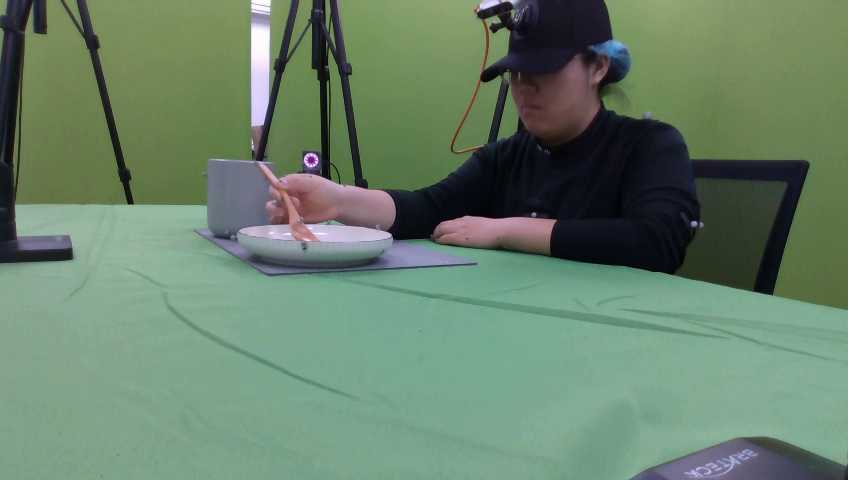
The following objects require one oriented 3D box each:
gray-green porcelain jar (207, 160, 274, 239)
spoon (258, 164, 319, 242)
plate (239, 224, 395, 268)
[{"bbox_3d":[-0.304,-0.068,1.003,0.106,0.126,0.106,3,7,0],"label":"gray-green porcelain jar"},{"bbox_3d":[-0.193,-0.052,0.849,0.042,0.021,0.193,9,37,-46],"label":"spoon"},{"bbox_3d":[-0.144,0.007,0.823,0.208,0.039,0.207,3,7,0],"label":"plate"}]
